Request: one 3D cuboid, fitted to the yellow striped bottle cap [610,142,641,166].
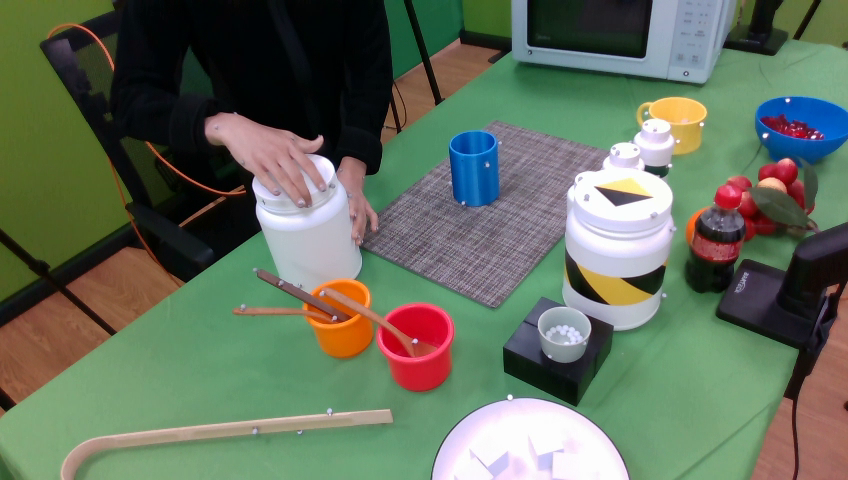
[{"bbox_3d":[0.308,-0.131,0.925,0.044,0.019,0.044,-4,45,4],"label":"yellow striped bottle cap"}]

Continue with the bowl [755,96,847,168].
[{"bbox_3d":[0.645,-0.177,1.041,0.151,0.077,0.150,-5,40,4],"label":"bowl"}]

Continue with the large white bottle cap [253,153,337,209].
[{"bbox_3d":[-0.180,-0.084,0.844,0.115,0.018,0.114,-4,41,4],"label":"large white bottle cap"}]

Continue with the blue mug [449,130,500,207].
[{"bbox_3d":[0.089,-0.132,1.049,0.082,0.106,0.116,0,40,9],"label":"blue mug"}]

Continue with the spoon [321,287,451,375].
[{"bbox_3d":[-0.046,0.111,0.757,0.194,0.021,0.041,38,46,-15],"label":"spoon"}]

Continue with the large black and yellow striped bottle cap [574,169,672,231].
[{"bbox_3d":[0.242,-0.051,0.738,0.115,0.019,0.114,-4,37,3],"label":"large black and yellow striped bottle cap"}]

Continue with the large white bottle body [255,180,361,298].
[{"bbox_3d":[-0.171,-0.018,0.898,0.130,0.185,0.130,-4,40,4],"label":"large white bottle body"}]

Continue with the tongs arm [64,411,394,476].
[{"bbox_3d":[-0.228,0.241,0.715,0.385,0.026,0.050,-5,43,4],"label":"tongs arm"}]

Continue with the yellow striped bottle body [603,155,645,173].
[{"bbox_3d":[0.314,-0.091,0.957,0.063,0.121,0.062,-4,40,4],"label":"yellow striped bottle body"}]

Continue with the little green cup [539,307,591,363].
[{"bbox_3d":[0.167,0.114,0.721,0.061,0.039,0.061,-4,43,4],"label":"little green cup"}]

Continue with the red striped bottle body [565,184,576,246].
[{"bbox_3d":[0.247,-0.041,0.910,0.063,0.120,0.062,-3,39,3],"label":"red striped bottle body"}]

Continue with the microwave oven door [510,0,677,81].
[{"bbox_3d":[0.354,-0.478,1.290,0.353,0.245,0.039,15,45,25],"label":"microwave oven door"}]

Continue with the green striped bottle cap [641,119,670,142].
[{"bbox_3d":[0.371,-0.175,0.968,0.044,0.020,0.044,-4,42,4],"label":"green striped bottle cap"}]

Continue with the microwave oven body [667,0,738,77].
[{"bbox_3d":[0.462,-0.552,1.369,0.439,0.261,0.326,15,45,26],"label":"microwave oven body"}]

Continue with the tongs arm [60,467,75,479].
[{"bbox_3d":[-0.239,0.301,0.648,0.386,0.028,0.028,6,49,16],"label":"tongs arm"}]

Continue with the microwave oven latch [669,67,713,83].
[{"bbox_3d":[0.556,-0.348,1.262,0.078,0.029,0.030,15,46,26],"label":"microwave oven latch"}]

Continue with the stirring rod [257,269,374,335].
[{"bbox_3d":[-0.143,0.084,0.808,0.177,0.006,0.014,30,42,-19],"label":"stirring rod"}]

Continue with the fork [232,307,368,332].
[{"bbox_3d":[-0.152,0.101,0.781,0.209,0.018,0.028,18,19,-45],"label":"fork"}]

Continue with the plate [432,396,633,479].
[{"bbox_3d":[0.112,0.261,0.634,0.209,0.038,0.208,-5,40,4],"label":"plate"}]

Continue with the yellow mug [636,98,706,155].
[{"bbox_3d":[0.453,-0.217,1.128,0.100,0.064,0.129,-34,46,-27],"label":"yellow mug"}]

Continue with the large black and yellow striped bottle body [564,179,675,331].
[{"bbox_3d":[0.253,0.014,0.793,0.131,0.185,0.130,-5,40,4],"label":"large black and yellow striped bottle body"}]

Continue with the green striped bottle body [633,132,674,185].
[{"bbox_3d":[0.376,-0.135,1.001,0.063,0.120,0.063,-5,40,5],"label":"green striped bottle body"}]

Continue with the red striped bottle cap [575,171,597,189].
[{"bbox_3d":[0.242,-0.081,0.876,0.044,0.018,0.044,-5,44,5],"label":"red striped bottle cap"}]
